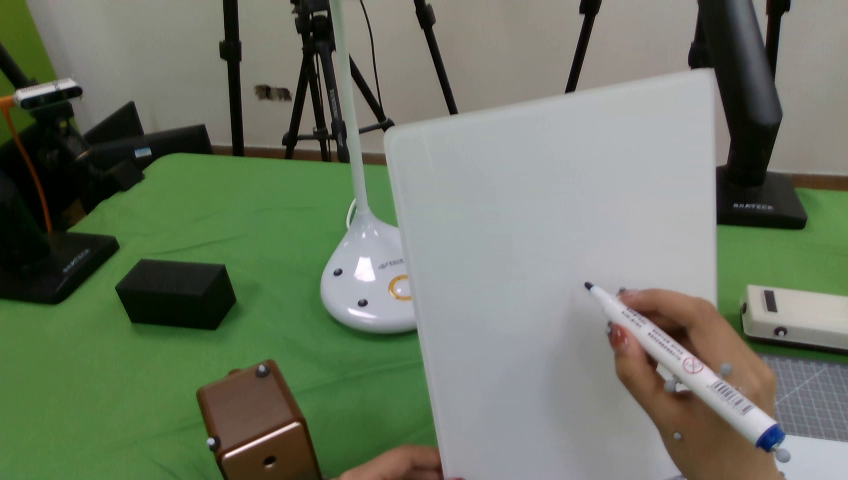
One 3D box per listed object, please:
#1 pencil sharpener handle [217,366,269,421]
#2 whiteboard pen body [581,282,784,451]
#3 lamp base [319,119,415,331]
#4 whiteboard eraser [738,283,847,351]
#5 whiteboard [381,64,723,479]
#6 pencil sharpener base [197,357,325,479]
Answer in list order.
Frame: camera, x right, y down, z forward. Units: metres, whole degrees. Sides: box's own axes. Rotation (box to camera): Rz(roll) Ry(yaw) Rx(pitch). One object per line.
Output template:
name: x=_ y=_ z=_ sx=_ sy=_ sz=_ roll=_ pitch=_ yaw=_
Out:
pencil sharpener handle: x=-0.144 y=0.118 z=0.486 sx=0.036 sy=0.068 sz=0.030 roll=-29 pitch=41 yaw=-16
whiteboard pen body: x=0.135 y=0.063 z=0.339 sx=0.017 sy=0.017 sz=0.139 roll=-21 pitch=40 yaw=-21
lamp base: x=-0.048 y=-0.025 z=0.633 sx=0.161 sy=0.182 sz=0.177 roll=-24 pitch=38 yaw=-25
whiteboard eraser: x=0.358 y=0.074 z=0.568 sx=0.112 sy=0.042 sz=0.055 roll=6 pitch=35 yaw=16
whiteboard: x=0.089 y=0.039 z=0.469 sx=0.217 sy=0.307 sz=0.143 roll=-13 pitch=17 yaw=-10
pencil sharpener base: x=-0.120 y=0.153 z=0.456 sx=0.061 sy=0.108 sz=0.076 roll=-22 pitch=39 yaw=-21
